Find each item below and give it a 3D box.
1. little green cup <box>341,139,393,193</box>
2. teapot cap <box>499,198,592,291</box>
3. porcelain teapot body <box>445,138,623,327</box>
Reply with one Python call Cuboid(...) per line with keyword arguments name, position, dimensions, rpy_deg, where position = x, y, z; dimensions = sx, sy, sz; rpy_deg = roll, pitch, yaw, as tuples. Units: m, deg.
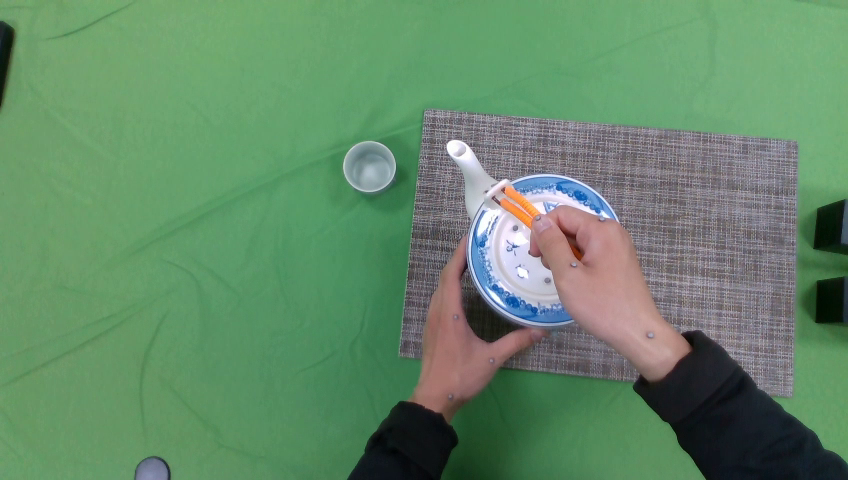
Cuboid(name="little green cup", position=(-0.065, -0.085, 0.716), dimensions=(0.061, 0.039, 0.061), rpy_deg=(0, 82, 2))
Cuboid(name="teapot cap", position=(0.108, 0.002, 0.539), dimensions=(0.085, 0.044, 0.085), rpy_deg=(-1, 80, 6))
Cuboid(name="porcelain teapot body", position=(0.092, -0.011, 0.583), dimensions=(0.145, 0.226, 0.204), rpy_deg=(-44, 79, 0))
